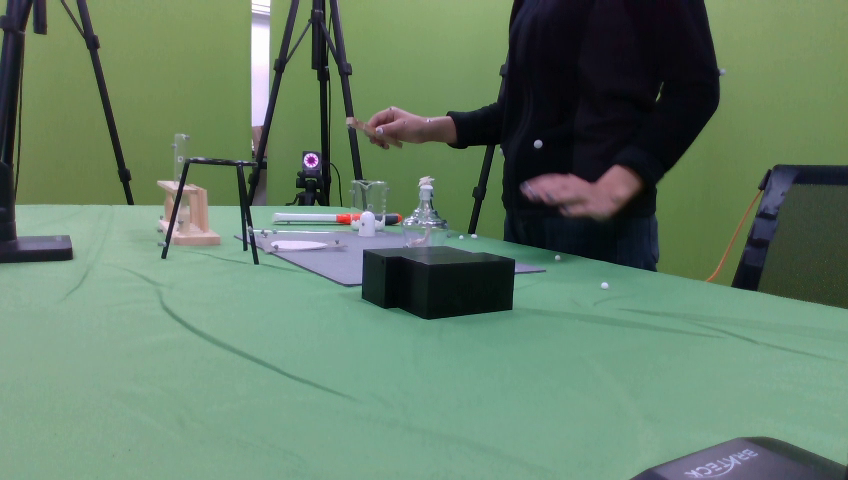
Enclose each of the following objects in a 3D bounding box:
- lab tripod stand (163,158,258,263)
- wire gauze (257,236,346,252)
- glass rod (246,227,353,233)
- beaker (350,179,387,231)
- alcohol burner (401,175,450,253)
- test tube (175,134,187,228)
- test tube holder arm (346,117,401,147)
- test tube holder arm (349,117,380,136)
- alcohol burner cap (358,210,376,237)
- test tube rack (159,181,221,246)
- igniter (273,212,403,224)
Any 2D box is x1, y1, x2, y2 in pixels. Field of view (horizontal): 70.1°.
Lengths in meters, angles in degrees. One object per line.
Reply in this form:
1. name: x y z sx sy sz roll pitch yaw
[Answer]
1. lab tripod stand: -0.265 -0.041 0.802 0.148 0.131 0.148 4 7 0
2. wire gauze: -0.189 0.005 0.931 0.122 0.011 0.124 1 7 -21
3. glass rod: -0.224 -0.017 1.109 0.201 0.008 0.008 1 7 -27
4. beaker: -0.111 -0.070 1.205 0.074 0.100 0.084 2 9 0
5. alcohol burner: 0.003 -0.040 0.933 0.078 0.119 0.078 2 9 0
6. test tube: -0.388 -0.094 0.964 0.017 0.150 0.017 1 2 0
7. test tube holder arm: -0.098 -0.217 1.222 0.013 0.015 0.179 12 -1 30
8. test tube holder arm: -0.116 -0.221 1.180 0.010 0.015 0.088 12 -1 31
9. alcohol burner cap: -0.104 -0.030 1.098 0.034 0.048 0.034 3 7 0
10. test tube rack: -0.395 -0.050 1.010 0.067 0.085 0.241 -2 8 -28
11. igniter: -0.179 -0.048 1.290 0.278 0.025 0.057 -1 -2 -24
